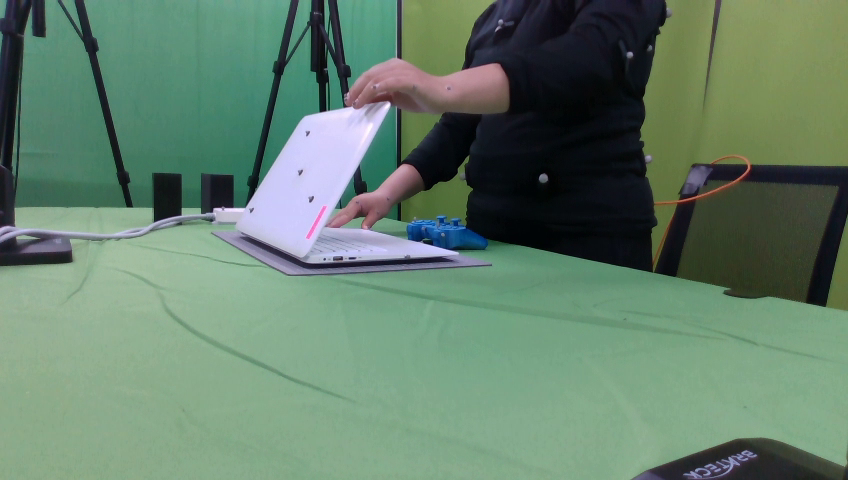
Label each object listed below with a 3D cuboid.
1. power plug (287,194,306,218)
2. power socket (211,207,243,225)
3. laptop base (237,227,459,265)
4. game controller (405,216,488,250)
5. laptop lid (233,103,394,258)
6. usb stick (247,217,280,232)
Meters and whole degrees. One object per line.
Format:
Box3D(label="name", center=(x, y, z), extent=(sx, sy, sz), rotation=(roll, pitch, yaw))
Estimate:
Box3D(label="power plug", center=(-0.283, -0.075, 1.342), extent=(0.035, 0.052, 0.072), rotation=(0, 3, -18))
Box3D(label="power socket", center=(-0.334, -0.051, 1.281), extent=(0.228, 0.032, 0.072), rotation=(-1, 9, -29))
Box3D(label="laptop base", center=(-0.136, 0.006, 0.951), extent=(0.237, 0.023, 0.352), rotation=(2, 6, -32))
Box3D(label="game controller", center=(0.034, -0.014, 1.067), extent=(0.097, 0.051, 0.154), rotation=(-7, 11, -29))
Box3D(label="laptop lid", center=(-0.183, -0.099, 0.906), extent=(0.013, 0.241, 0.355), rotation=(35, -9, -30))
Box3D(label="usb stick", center=(-0.296, -0.028, 1.114), extent=(0.059, 0.027, 0.021), rotation=(-3, 12, -30))
